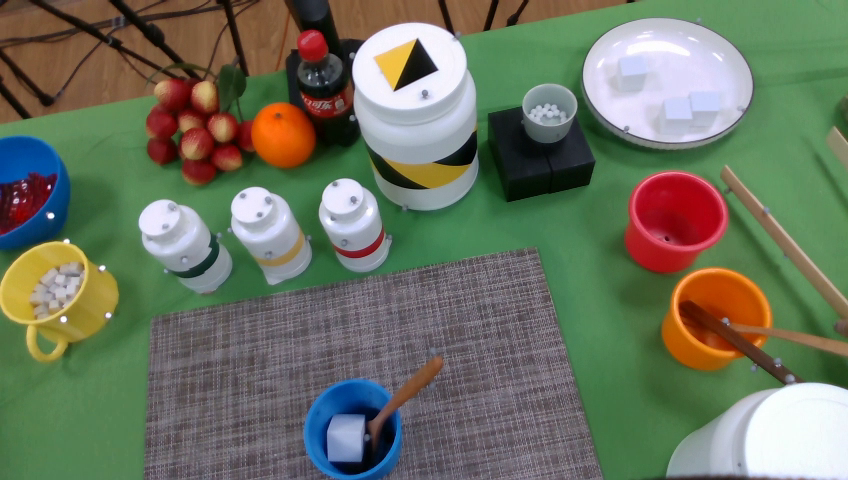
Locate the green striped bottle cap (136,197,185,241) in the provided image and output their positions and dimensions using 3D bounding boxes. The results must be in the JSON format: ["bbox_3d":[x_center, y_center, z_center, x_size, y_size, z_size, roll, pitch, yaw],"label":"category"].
[{"bbox_3d":[-0.271,-0.022,0.623,0.044,0.020,0.044,-2,61,4],"label":"green striped bottle cap"}]

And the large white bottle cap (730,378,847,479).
[{"bbox_3d":[0.271,0.151,0.413,0.115,0.018,0.114,-2,62,4],"label":"large white bottle cap"}]

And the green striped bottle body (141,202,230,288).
[{"bbox_3d":[-0.266,0.002,0.670,0.063,0.120,0.062,-2,62,4],"label":"green striped bottle body"}]

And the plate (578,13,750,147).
[{"bbox_3d":[0.299,-0.200,0.770,0.209,0.038,0.207,-2,63,4],"label":"plate"}]

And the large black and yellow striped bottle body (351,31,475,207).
[{"bbox_3d":[-0.009,-0.135,0.681,0.131,0.185,0.129,-2,63,4],"label":"large black and yellow striped bottle body"}]

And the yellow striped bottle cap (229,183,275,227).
[{"bbox_3d":[-0.177,-0.036,0.623,0.044,0.019,0.044,-1,64,3],"label":"yellow striped bottle cap"}]

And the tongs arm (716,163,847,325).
[{"bbox_3d":[0.431,0.056,0.607,0.051,0.027,0.380,-22,59,-5],"label":"tongs arm"}]

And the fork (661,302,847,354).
[{"bbox_3d":[0.313,0.083,0.561,0.028,0.019,0.206,-44,23,-21],"label":"fork"}]

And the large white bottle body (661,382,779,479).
[{"bbox_3d":[0.279,0.191,0.488,0.130,0.186,0.129,-2,62,4],"label":"large white bottle body"}]

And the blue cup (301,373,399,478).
[{"bbox_3d":[-0.061,0.181,0.565,0.092,0.101,0.092,-1,60,3],"label":"blue cup"}]

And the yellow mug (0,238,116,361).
[{"bbox_3d":[-0.414,0.070,0.678,0.100,0.064,0.130,-1,63,4],"label":"yellow mug"}]

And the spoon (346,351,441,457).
[{"bbox_3d":[-0.032,0.151,0.536,0.022,0.194,0.041,0,53,-29],"label":"spoon"}]

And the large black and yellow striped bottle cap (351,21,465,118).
[{"bbox_3d":[-0.016,-0.172,0.606,0.115,0.019,0.114,-2,62,5],"label":"large black and yellow striped bottle cap"}]

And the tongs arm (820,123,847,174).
[{"bbox_3d":[0.501,0.031,0.610,0.028,0.028,0.383,-11,59,-2],"label":"tongs arm"}]

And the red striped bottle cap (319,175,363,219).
[{"bbox_3d":[-0.085,-0.044,0.618,0.044,0.018,0.044,0,61,1],"label":"red striped bottle cap"}]

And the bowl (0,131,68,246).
[{"bbox_3d":[-0.498,-0.049,0.740,0.151,0.077,0.150,-2,63,4],"label":"bowl"}]

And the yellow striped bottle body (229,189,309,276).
[{"bbox_3d":[-0.172,-0.012,0.668,0.063,0.121,0.062,-3,63,5],"label":"yellow striped bottle body"}]

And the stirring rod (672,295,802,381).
[{"bbox_3d":[0.285,0.088,0.566,0.014,0.006,0.175,-16,20,-5],"label":"stirring rod"}]

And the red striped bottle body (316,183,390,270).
[{"bbox_3d":[-0.079,-0.019,0.664,0.063,0.121,0.062,-4,61,8],"label":"red striped bottle body"}]
